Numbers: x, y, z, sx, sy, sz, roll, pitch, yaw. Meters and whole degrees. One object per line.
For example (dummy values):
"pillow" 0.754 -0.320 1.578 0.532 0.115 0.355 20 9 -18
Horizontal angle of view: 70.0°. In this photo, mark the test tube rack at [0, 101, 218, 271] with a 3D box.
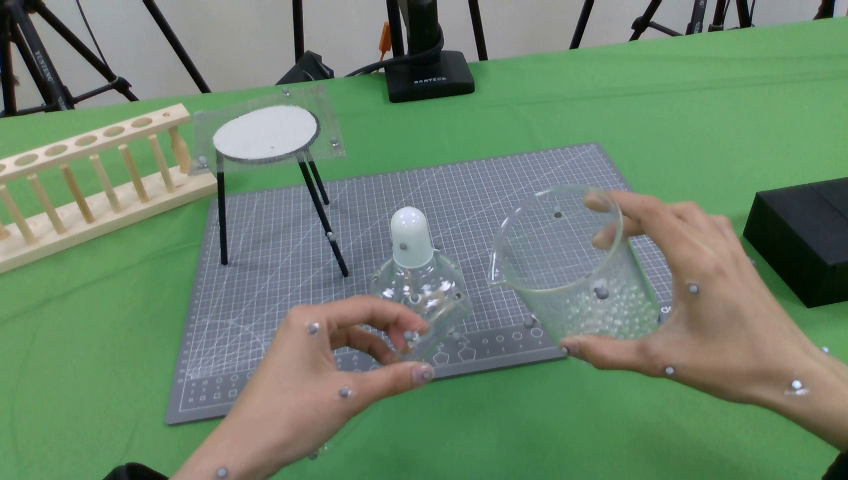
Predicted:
"test tube rack" -0.355 -0.061 0.643 0.242 0.086 0.066 -25 44 -22

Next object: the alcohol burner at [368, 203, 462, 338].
"alcohol burner" -0.008 0.021 0.486 0.078 0.120 0.077 -3 39 3

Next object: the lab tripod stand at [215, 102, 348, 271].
"lab tripod stand" -0.133 -0.047 0.562 0.148 0.133 0.147 -3 43 3

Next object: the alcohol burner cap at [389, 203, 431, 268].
"alcohol burner cap" -0.013 -0.006 0.462 0.034 0.048 0.033 -4 43 4

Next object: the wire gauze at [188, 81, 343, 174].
"wire gauze" -0.138 -0.097 0.517 0.125 0.011 0.120 -13 41 -7

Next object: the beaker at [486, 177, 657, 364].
"beaker" 0.091 0.025 0.363 0.084 0.101 0.073 -33 42 8

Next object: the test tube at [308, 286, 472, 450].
"test tube" -0.025 0.083 0.370 0.150 0.017 0.017 -47 37 21
